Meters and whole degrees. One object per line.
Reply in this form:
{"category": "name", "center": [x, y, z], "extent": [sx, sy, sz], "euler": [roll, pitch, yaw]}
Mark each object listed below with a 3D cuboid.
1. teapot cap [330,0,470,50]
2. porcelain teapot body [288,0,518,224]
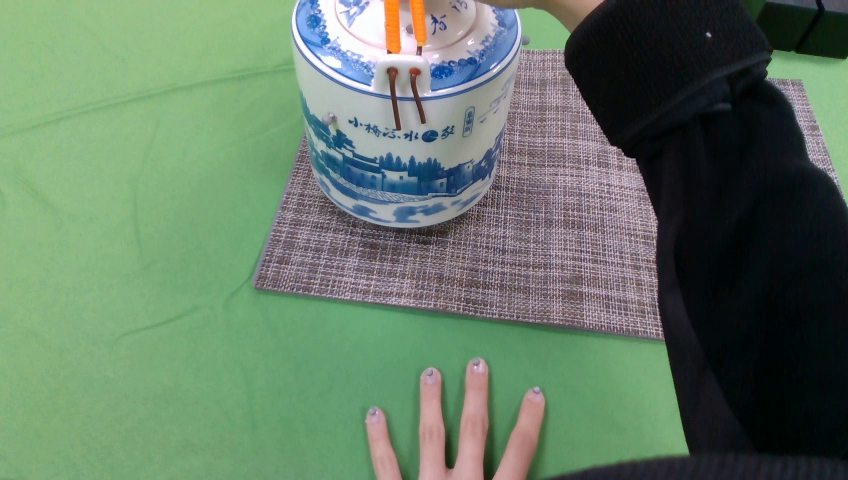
{"category": "teapot cap", "center": [-0.014, -0.147, 0.365], "extent": [0.085, 0.044, 0.084], "euler": [1, 56, -1]}
{"category": "porcelain teapot body", "center": [-0.013, -0.146, 0.413], "extent": [0.145, 0.227, 0.203], "euler": [2, 54, -2]}
